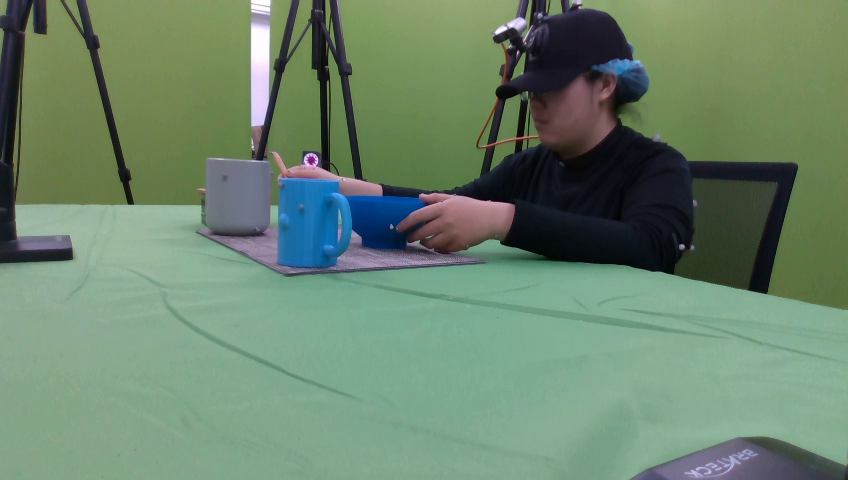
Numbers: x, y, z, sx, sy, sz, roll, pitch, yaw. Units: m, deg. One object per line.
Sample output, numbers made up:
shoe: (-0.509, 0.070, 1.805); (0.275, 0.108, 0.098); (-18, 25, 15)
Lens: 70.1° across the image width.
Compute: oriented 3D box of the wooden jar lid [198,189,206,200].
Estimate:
wooden jar lid: (-0.382, -0.088, 1.175); (0.108, 0.020, 0.108); (3, 8, 0)

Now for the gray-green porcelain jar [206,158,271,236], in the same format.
gray-green porcelain jar: (-0.316, -0.074, 1.031); (0.106, 0.126, 0.106); (3, 7, 0)

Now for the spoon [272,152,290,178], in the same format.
spoon: (-0.273, -0.109, 1.231); (0.042, 0.193, 0.021); (-8, -28, -34)

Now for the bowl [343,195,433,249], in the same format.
bowl: (-0.063, -0.029, 0.971); (0.151, 0.077, 0.151); (3, 7, 0)

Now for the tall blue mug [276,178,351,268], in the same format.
tall blue mug: (-0.133, -0.022, 0.767); (0.107, 0.108, 0.078); (4, 6, 12)
